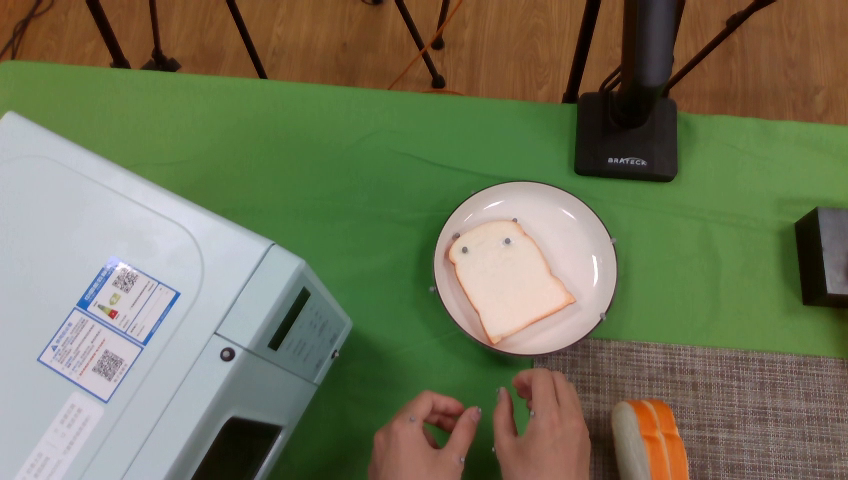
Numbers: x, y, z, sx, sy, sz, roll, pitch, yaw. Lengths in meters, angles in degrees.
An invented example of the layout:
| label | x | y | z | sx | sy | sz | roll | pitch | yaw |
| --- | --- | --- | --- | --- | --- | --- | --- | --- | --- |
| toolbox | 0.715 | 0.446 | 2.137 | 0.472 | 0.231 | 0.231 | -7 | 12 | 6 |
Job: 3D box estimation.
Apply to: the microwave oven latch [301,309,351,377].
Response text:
| label | x | y | z | sx | sy | sz | roll | pitch | yaw |
| --- | --- | --- | --- | --- | --- | --- | --- | --- | --- |
| microwave oven latch | -0.109 | 0.107 | 0.658 | 0.030 | 0.030 | 0.079 | 27 | 75 | 11 |

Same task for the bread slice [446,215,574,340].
| label | x | y | z | sx | sy | sz | roll | pitch | yaw |
| --- | --- | --- | --- | --- | --- | --- | --- | --- | --- |
| bread slice | 0.087 | 0.037 | 0.690 | 0.107 | 0.018 | 0.133 | -29 | 71 | -10 |

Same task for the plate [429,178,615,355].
| label | x | y | z | sx | sy | sz | roll | pitch | yaw |
| --- | --- | --- | --- | --- | --- | --- | --- | --- | --- |
| plate | 0.110 | 0.030 | 0.693 | 0.207 | 0.039 | 0.206 | -1 | 71 | 2 |

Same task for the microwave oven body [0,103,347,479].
| label | x | y | z | sx | sy | sz | roll | pitch | yaw |
| --- | --- | --- | --- | --- | --- | --- | --- | --- | --- |
| microwave oven body | -0.328 | 0.162 | 0.548 | 0.325 | 0.262 | 0.440 | 26 | 75 | 11 |

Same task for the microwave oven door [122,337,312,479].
| label | x | y | z | sx | sy | sz | roll | pitch | yaw |
| --- | --- | --- | --- | --- | --- | --- | --- | --- | --- |
| microwave oven door | -0.221 | 0.256 | 0.505 | 0.039 | 0.245 | 0.354 | 26 | 74 | 10 |
